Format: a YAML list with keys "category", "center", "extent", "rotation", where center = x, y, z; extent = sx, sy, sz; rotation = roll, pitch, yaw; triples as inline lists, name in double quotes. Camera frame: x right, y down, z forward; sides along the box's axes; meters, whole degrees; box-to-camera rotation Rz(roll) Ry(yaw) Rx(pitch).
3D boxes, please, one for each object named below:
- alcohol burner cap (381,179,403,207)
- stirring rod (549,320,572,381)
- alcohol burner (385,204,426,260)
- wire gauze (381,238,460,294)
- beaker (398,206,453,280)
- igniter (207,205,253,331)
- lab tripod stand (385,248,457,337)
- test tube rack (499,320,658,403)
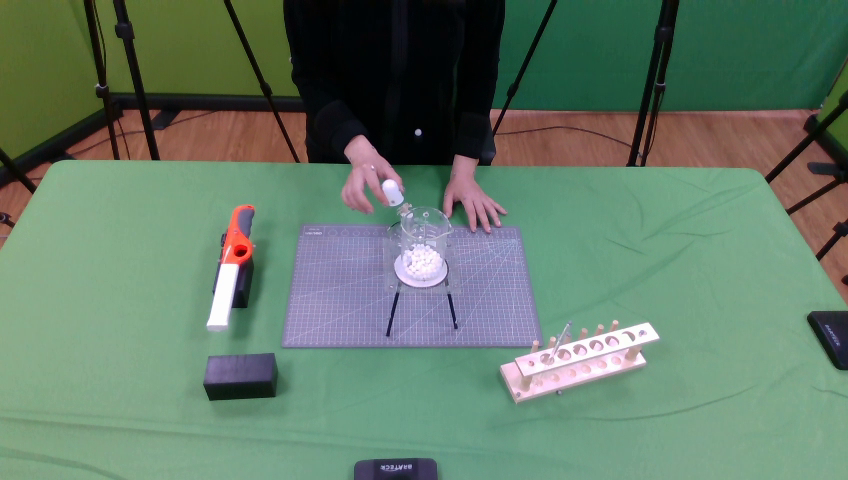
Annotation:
- category: "alcohol burner cap"
  center: [-0.059, -0.086, 1.072]
  extent: [0.034, 0.048, 0.033]
  rotation: [-11, 41, 10]
- category: "stirring rod"
  center: [0.202, 0.167, 0.901]
  extent: [0.006, 0.177, 0.014]
  rotation: [-17, 54, -11]
- category: "alcohol burner"
  center: [-0.035, -0.020, 1.147]
  extent: [0.078, 0.120, 0.077]
  rotation: [1, 46, -1]
- category: "wire gauze"
  center: [-0.007, 0.042, 0.985]
  extent: [0.125, 0.011, 0.120]
  rotation: [-1, 43, -2]
- category: "beaker"
  center: [0.000, 0.008, 0.950]
  extent: [0.084, 0.101, 0.073]
  rotation: [10, 46, 6]
- category: "igniter"
  center: [-0.339, 0.038, 1.066]
  extent: [0.057, 0.025, 0.274]
  rotation: [2, 48, -6]
- category: "lab tripod stand"
  center: [-0.010, 0.087, 1.032]
  extent: [0.148, 0.132, 0.147]
  rotation: [1, 45, -1]
- category: "test tube rack"
  center: [0.252, 0.187, 0.994]
  extent: [0.243, 0.085, 0.066]
  rotation: [-12, 48, -15]
